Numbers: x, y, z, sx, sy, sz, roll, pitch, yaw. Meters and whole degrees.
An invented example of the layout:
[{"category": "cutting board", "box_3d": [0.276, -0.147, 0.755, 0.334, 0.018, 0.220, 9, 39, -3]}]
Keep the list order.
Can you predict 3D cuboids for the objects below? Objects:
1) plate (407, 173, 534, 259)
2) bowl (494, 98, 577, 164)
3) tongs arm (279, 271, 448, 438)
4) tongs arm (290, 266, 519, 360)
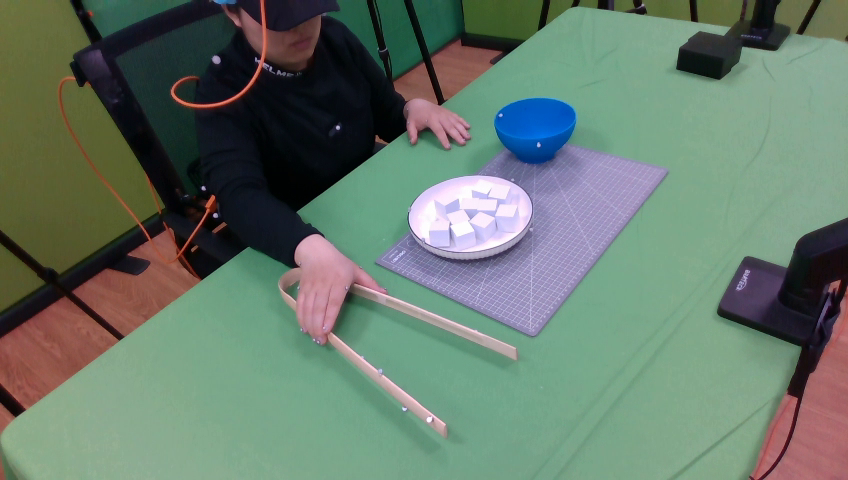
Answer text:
[{"category": "plate", "box_3d": [0.076, -0.037, 0.997, 0.207, 0.039, 0.206, -5, 40, 5]}, {"category": "bowl", "box_3d": [0.207, -0.195, 1.128, 0.151, 0.077, 0.150, -5, 40, 5]}, {"category": "tongs arm", "box_3d": [-0.093, 0.140, 0.824, 0.381, 0.026, 0.051, 28, 52, 37]}, {"category": "tongs arm", "box_3d": [-0.041, 0.099, 0.868, 0.385, 0.028, 0.028, 17, 50, 28]}]
